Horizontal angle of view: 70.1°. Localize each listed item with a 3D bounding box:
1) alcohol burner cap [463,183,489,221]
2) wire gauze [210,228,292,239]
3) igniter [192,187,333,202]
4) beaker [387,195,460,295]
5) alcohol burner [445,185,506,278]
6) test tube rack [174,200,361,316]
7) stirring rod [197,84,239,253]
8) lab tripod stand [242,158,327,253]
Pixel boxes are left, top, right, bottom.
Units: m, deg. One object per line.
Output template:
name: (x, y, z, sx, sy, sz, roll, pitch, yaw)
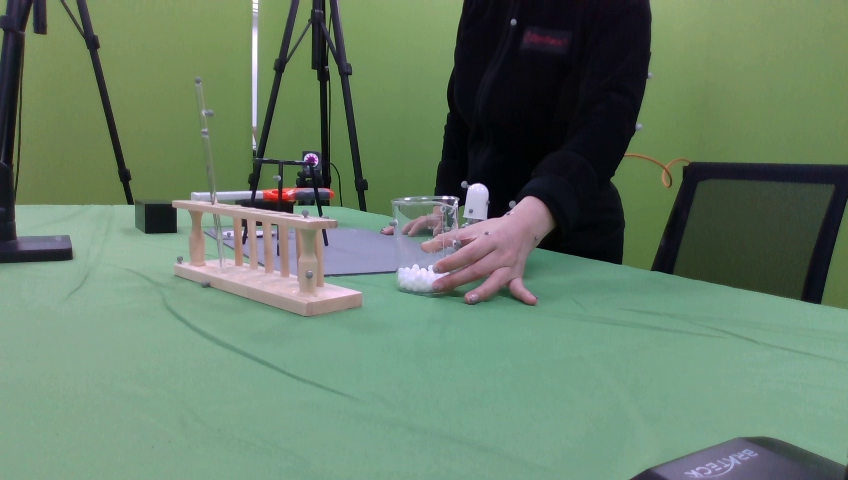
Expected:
alcohol burner cap: (0.067, -0.048, 0.765, 0.034, 0.048, 0.034, 5, 5, 0)
wire gauze: (-0.298, -0.013, 1.039, 0.122, 0.011, 0.124, -2, 6, -27)
igniter: (-0.316, -0.090, 1.214, 0.278, 0.025, 0.057, -5, 12, -31)
beaker: (0.004, 0.004, 0.650, 0.083, 0.100, 0.074, 6, 12, 44)
alcohol burner: (0.066, -0.013, 0.771, 0.078, 0.119, 0.078, 0, 7, 0)
test tube rack: (-0.169, 0.009, 0.622, 0.241, 0.085, 0.067, 9, 9, 41)
stirring rod: (-0.213, -0.072, 0.625, 0.006, 0.176, 0.014, -14, 12, -22)
lab tripod stand: (-0.207, -0.054, 0.895, 0.148, 0.131, 0.148, 2, 5, 0)
